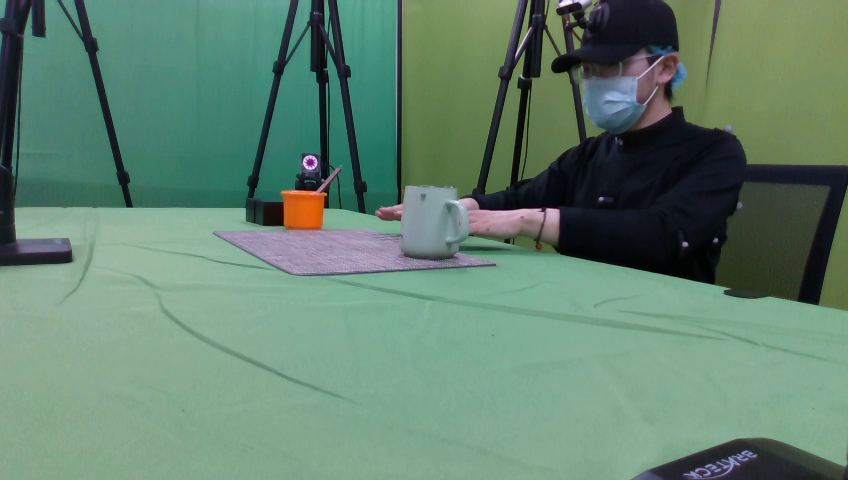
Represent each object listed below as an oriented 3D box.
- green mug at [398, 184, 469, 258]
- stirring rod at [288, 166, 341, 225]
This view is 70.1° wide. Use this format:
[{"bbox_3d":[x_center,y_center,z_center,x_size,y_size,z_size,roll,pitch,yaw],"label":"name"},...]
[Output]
[{"bbox_3d":[0.019,-0.028,0.890,0.093,0.105,0.124,-4,9,-41],"label":"green mug"},{"bbox_3d":[-0.222,-0.094,1.238,0.014,0.006,0.176,5,48,41],"label":"stirring rod"}]
